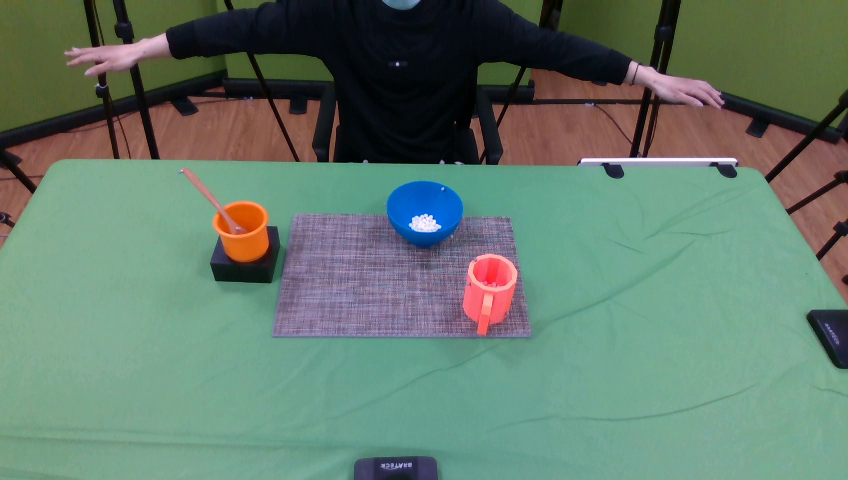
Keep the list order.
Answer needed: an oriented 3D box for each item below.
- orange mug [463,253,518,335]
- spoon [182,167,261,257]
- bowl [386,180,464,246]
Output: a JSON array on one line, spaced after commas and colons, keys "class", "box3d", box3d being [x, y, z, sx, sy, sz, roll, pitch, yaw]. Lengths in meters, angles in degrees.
[{"class": "orange mug", "box3d": [0.113, 0.098, 1.050, 0.083, 0.101, 0.125, 10, 42, 6]}, {"class": "spoon", "box3d": [-0.354, -0.049, 1.061, 0.041, 0.194, 0.021, -44, 19, -31]}, {"class": "bowl", "box3d": [0.000, -0.041, 1.191, 0.151, 0.077, 0.150, 2, 46, -2]}]
